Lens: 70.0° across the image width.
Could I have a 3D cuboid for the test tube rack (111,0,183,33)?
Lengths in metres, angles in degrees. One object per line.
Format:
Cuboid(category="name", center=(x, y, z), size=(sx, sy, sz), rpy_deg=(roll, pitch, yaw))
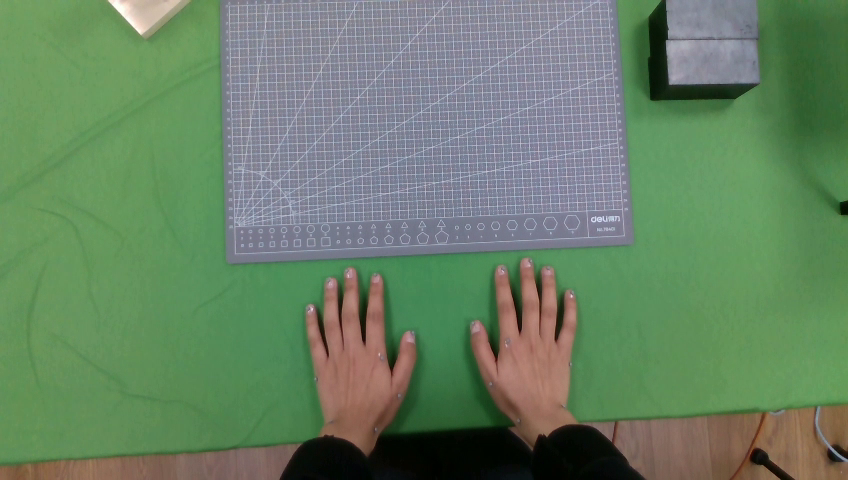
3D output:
Cuboid(category="test tube rack", center=(-0.248, -0.341, 0.646), size=(0.242, 0.085, 0.066), rpy_deg=(-44, 87, -4))
